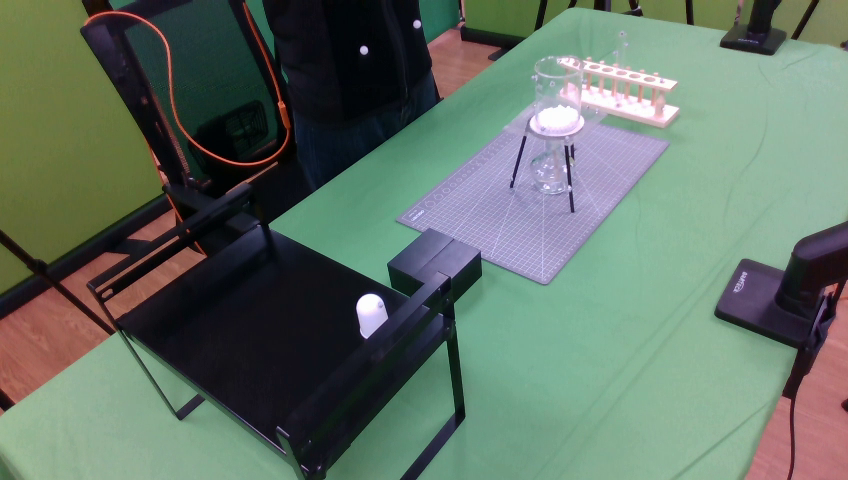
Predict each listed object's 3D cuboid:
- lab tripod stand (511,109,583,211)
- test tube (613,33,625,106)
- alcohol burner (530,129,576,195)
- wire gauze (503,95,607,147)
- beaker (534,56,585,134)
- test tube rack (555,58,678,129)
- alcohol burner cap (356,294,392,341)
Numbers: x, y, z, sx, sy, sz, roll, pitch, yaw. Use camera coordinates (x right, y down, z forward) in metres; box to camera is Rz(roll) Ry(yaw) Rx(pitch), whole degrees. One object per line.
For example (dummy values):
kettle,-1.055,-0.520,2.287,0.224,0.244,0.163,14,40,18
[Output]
lab tripod stand,0.220,-0.138,1.014,0.148,0.132,0.147,-3,41,3
test tube,0.380,-0.330,1.180,0.017,0.151,0.017,-7,41,6
alcohol burner,0.220,-0.137,1.028,0.078,0.119,0.077,-5,42,5
wire gauze,0.212,-0.191,0.976,0.120,0.011,0.125,24,52,32
beaker,0.209,-0.226,0.942,0.074,0.101,0.083,-2,41,8
test tube rack,0.390,-0.307,1.229,0.240,0.085,0.067,25,50,33
alcohol burner cap,-0.051,0.074,0.601,0.034,0.048,0.033,-5,42,5
